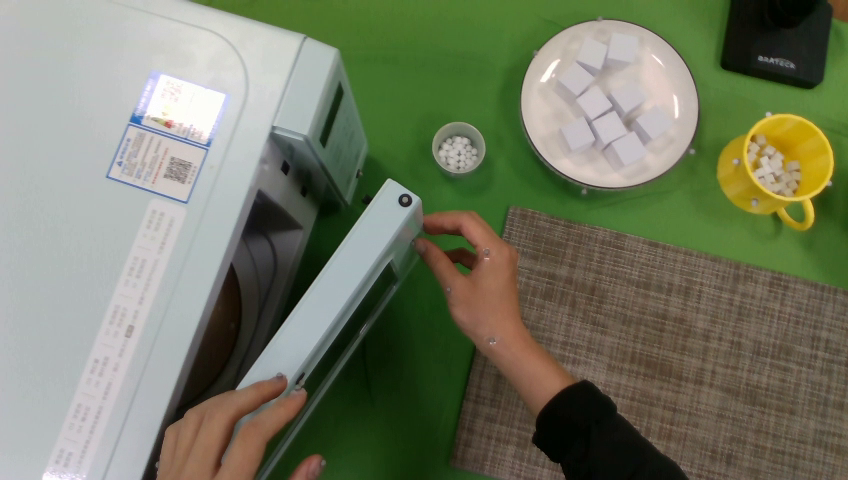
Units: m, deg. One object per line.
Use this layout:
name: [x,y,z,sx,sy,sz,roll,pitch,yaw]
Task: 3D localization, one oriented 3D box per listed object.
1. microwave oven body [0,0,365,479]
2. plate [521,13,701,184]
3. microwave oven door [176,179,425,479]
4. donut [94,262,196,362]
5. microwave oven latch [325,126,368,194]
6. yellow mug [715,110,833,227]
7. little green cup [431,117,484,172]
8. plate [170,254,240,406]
microwave oven body: [-0.284,0.013,0.574,0.326,0.261,0.440,18,83,2]
plate: [0.217,-0.163,0.717,0.208,0.039,0.207,0,81,0]
microwave oven door: [-0.115,0.118,0.554,0.039,0.244,0.355,34,83,6]
donut: [-0.277,0.071,0.605,0.099,0.048,0.099,0,86,-2]
microwave oven latch: [-0.089,-0.094,0.687,0.030,0.029,0.079,22,83,3]
yellow mug: [0.403,-0.076,0.690,0.100,0.064,0.130,-22,83,-3]
little green cup: [0.039,-0.108,0.707,0.061,0.039,0.061,0,83,1]
plate: [-0.289,0.071,0.620,0.209,0.038,0.208,0,82,0]
